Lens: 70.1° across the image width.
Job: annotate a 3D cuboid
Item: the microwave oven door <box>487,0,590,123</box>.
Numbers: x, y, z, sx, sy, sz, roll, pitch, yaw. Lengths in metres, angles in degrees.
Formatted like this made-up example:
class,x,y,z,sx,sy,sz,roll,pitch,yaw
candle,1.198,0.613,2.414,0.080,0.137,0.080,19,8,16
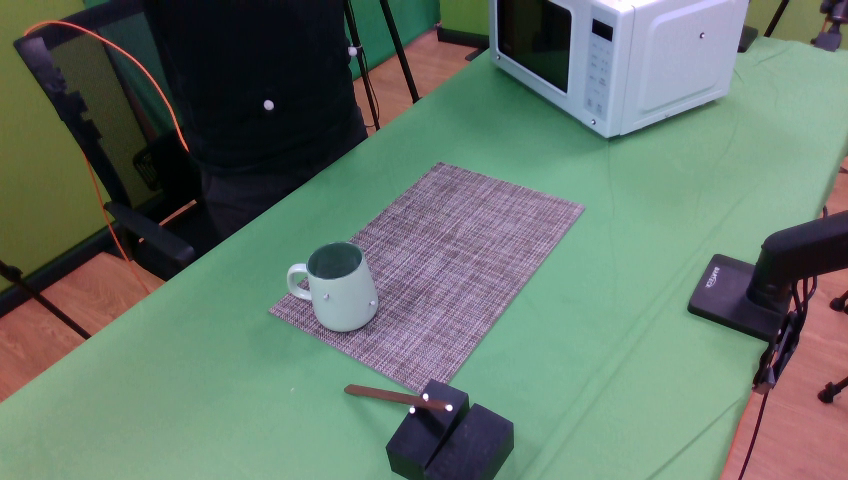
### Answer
class,x,y,z,sx,sy,sz,roll,pitch,yaw
microwave oven door,0.232,-0.420,1.231,0.039,0.245,0.352,-22,43,-16

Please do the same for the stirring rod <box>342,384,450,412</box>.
class,x,y,z,sx,sy,sz,roll,pitch,yaw
stirring rod,-0.038,0.186,0.714,0.175,0.006,0.014,-3,22,43

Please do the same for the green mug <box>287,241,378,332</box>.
class,x,y,z,sx,sy,sz,roll,pitch,yaw
green mug,-0.131,0.065,0.843,0.125,0.105,0.092,3,42,12

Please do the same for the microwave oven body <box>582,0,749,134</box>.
class,x,y,z,sx,sy,sz,roll,pitch,yaw
microwave oven body,0.382,-0.445,1.246,0.327,0.261,0.437,-22,42,-16

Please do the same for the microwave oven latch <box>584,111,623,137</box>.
class,x,y,z,sx,sy,sz,roll,pitch,yaw
microwave oven latch,0.337,-0.222,1.142,0.030,0.029,0.078,-21,42,-14
